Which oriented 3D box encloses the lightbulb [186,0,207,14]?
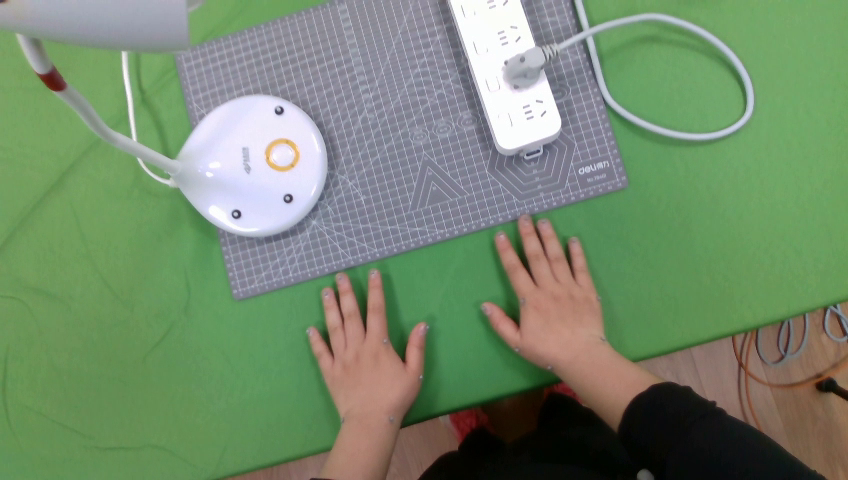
[{"bbox_3d":[-0.162,-0.146,0.308,0.108,0.059,0.059,-4,84,-21],"label":"lightbulb"}]

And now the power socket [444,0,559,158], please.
[{"bbox_3d":[0.081,-0.199,0.653,0.072,0.033,0.226,-18,83,3],"label":"power socket"}]

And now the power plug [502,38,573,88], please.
[{"bbox_3d":[0.117,-0.179,0.628,0.072,0.053,0.035,-7,85,2],"label":"power plug"}]

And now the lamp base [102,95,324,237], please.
[{"bbox_3d":[-0.210,-0.085,0.601,0.179,0.181,0.160,-20,83,7],"label":"lamp base"}]

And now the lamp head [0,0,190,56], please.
[{"bbox_3d":[-0.187,-0.145,0.305,0.123,0.112,0.112,-12,83,-17],"label":"lamp head"}]
